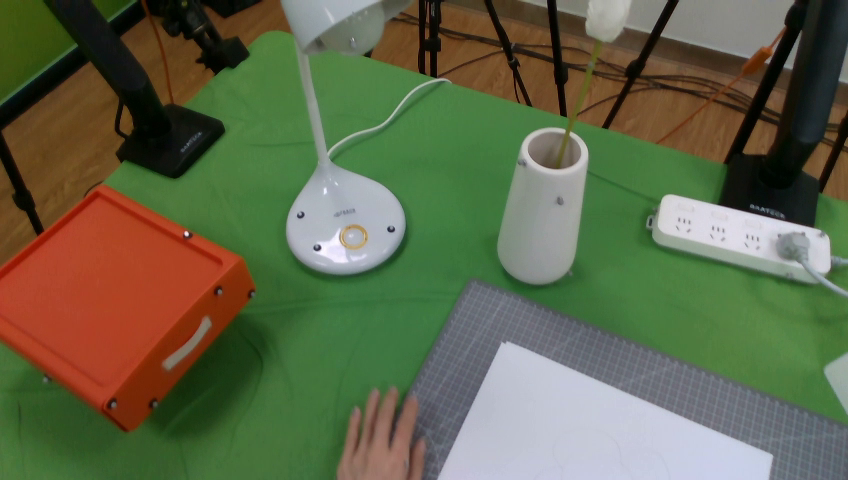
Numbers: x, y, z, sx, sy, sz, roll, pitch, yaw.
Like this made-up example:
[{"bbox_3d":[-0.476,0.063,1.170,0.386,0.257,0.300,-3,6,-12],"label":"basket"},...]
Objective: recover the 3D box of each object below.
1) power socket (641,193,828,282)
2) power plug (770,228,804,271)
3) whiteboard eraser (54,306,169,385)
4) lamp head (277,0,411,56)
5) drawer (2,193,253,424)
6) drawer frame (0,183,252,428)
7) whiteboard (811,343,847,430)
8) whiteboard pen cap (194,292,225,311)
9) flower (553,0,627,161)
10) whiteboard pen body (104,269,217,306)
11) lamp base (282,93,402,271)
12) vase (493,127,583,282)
[{"bbox_3d":[0.400,-0.005,0.784,0.226,0.033,0.072,16,56,12],"label":"power socket"},{"bbox_3d":[0.437,0.016,0.739,0.035,0.053,0.072,25,59,19],"label":"power plug"},{"bbox_3d":[-0.332,0.113,0.647,0.112,0.042,0.055,16,48,21],"label":"whiteboard eraser"},{"bbox_3d":[-0.084,-0.232,0.510,0.112,0.112,0.123,-32,97,-21],"label":"lamp head"},{"bbox_3d":[-0.334,0.063,0.663,0.210,0.074,0.194,25,58,18],"label":"drawer"},{"bbox_3d":[-0.340,0.063,0.666,0.212,0.083,0.201,25,58,17],"label":"drawer frame"},{"bbox_3d":[0.569,0.139,0.541,0.144,0.307,0.215,5,50,-18],"label":"whiteboard"},{"bbox_3d":[-0.243,0.069,0.684,0.033,0.018,0.018,11,54,18],"label":"whiteboard pen cap"},{"bbox_3d":[0.145,-0.097,0.652,0.038,0.364,0.043,12,36,2],"label":"flower"},{"bbox_3d":[-0.302,0.057,0.694,0.140,0.017,0.017,14,54,9],"label":"whiteboard pen body"},{"bbox_3d":[-0.118,-0.079,0.758,0.161,0.182,0.177,-25,54,-17],"label":"lamp base"},{"bbox_3d":[0.133,-0.037,0.710,0.098,0.202,0.097,-1,52,2],"label":"vase"}]
